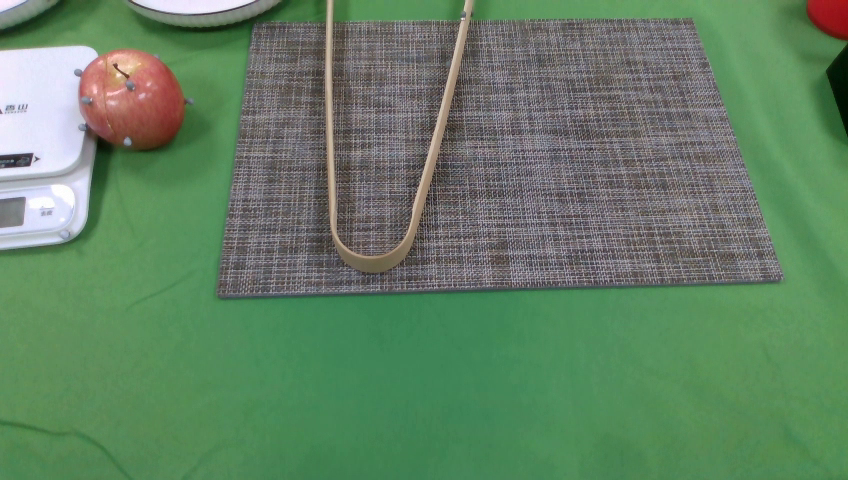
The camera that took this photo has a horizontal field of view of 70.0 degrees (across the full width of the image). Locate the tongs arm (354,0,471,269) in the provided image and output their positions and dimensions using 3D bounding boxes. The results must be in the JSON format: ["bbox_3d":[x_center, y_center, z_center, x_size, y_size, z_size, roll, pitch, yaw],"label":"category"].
[{"bbox_3d":[0.003,-0.146,0.557,0.051,0.027,0.382,9,62,3],"label":"tongs arm"}]

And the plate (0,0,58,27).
[{"bbox_3d":[-0.446,-0.284,0.620,0.208,0.039,0.206,1,61,-1],"label":"plate"}]

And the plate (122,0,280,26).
[{"bbox_3d":[-0.221,-0.294,0.632,0.209,0.038,0.207,1,61,-1],"label":"plate"}]

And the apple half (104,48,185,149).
[{"bbox_3d":[-0.233,-0.120,0.517,0.053,0.075,0.080,-9,58,-9],"label":"apple half"}]

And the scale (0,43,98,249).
[{"bbox_3d":[-0.357,-0.084,0.517,0.149,0.032,0.199,-6,62,-5],"label":"scale"}]

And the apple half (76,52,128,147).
[{"bbox_3d":[-0.271,-0.113,0.511,0.033,0.082,0.080,-9,62,-10],"label":"apple half"}]

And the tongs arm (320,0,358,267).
[{"bbox_3d":[-0.081,-0.151,0.559,0.028,0.028,0.384,-2,61,-7],"label":"tongs arm"}]
